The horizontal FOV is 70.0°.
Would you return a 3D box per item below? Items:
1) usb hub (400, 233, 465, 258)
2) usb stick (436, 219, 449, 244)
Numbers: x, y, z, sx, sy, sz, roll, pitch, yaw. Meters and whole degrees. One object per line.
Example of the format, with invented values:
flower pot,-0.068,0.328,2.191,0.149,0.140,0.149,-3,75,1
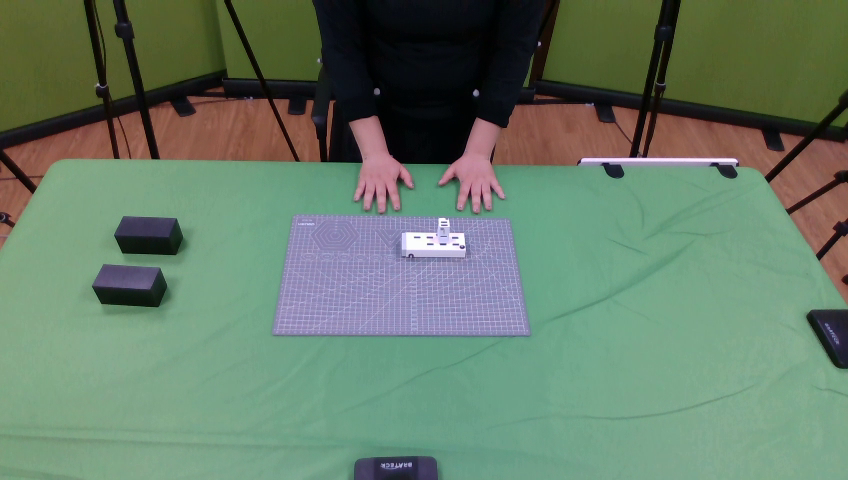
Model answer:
usb hub,0.017,0.011,1.182,0.125,0.025,0.049,0,46,-3
usb stick,0.035,-0.012,1.166,0.021,0.059,0.027,-2,48,-6
